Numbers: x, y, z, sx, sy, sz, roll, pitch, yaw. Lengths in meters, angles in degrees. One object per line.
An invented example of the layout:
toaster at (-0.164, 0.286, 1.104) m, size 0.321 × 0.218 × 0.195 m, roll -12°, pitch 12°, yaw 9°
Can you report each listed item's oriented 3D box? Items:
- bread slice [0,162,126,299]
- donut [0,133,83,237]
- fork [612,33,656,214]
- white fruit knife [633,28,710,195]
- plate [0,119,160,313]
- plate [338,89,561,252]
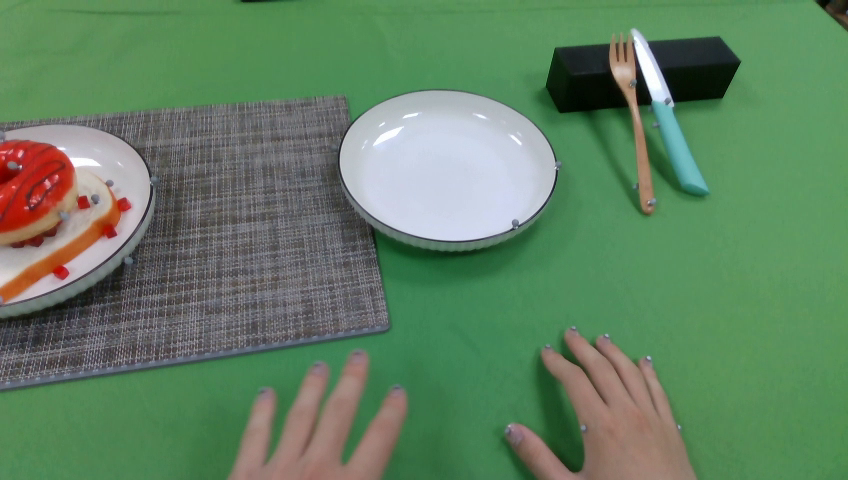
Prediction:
bread slice at (-0.327, -0.018, 0.511) m, size 0.104 × 0.019 × 0.131 m, roll 33°, pitch 57°, yaw 20°
donut at (-0.327, -0.045, 0.483) m, size 0.099 × 0.048 × 0.098 m, roll 2°, pitch 51°, yaw -2°
fork at (0.215, -0.123, 0.614) m, size 0.028 × 0.019 × 0.206 m, roll 2°, pitch 68°, yaw -9°
white fruit knife at (0.252, -0.139, 0.633) m, size 0.027 × 0.016 × 0.206 m, roll -6°, pitch 69°, yaw -12°
plate at (-0.331, -0.022, 0.511) m, size 0.209 × 0.038 × 0.207 m, roll 2°, pitch 51°, yaw -2°
plate at (0.023, -0.067, 0.580) m, size 0.208 × 0.039 × 0.205 m, roll 2°, pitch 51°, yaw -3°
